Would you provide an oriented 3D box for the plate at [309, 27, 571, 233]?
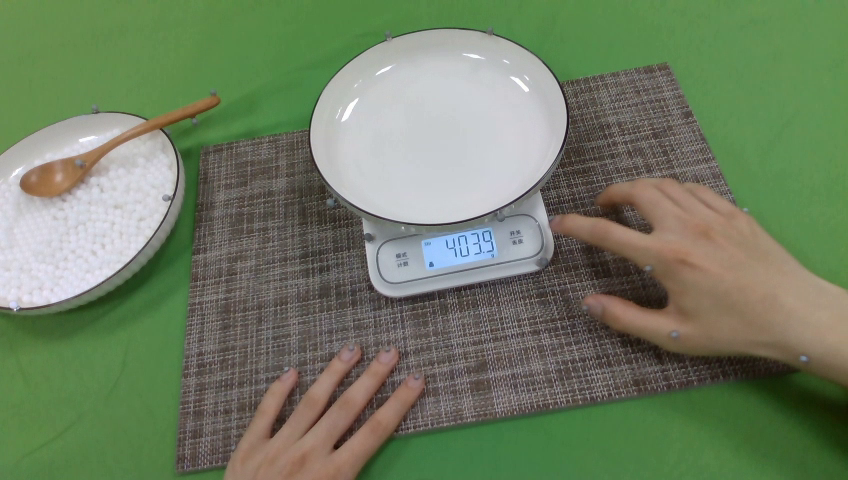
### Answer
[{"bbox_3d":[0.012,-0.090,0.495,0.207,0.039,0.205,-3,59,5],"label":"plate"}]

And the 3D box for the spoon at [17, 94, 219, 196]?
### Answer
[{"bbox_3d":[-0.277,-0.090,0.553,0.194,0.022,0.041,-27,59,0],"label":"spoon"}]

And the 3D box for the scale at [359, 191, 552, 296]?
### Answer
[{"bbox_3d":[0.016,-0.055,0.513,0.148,0.032,0.199,-11,59,1],"label":"scale"}]

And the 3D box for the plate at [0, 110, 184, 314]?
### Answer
[{"bbox_3d":[-0.312,-0.026,0.539,0.209,0.038,0.207,-3,59,5],"label":"plate"}]
